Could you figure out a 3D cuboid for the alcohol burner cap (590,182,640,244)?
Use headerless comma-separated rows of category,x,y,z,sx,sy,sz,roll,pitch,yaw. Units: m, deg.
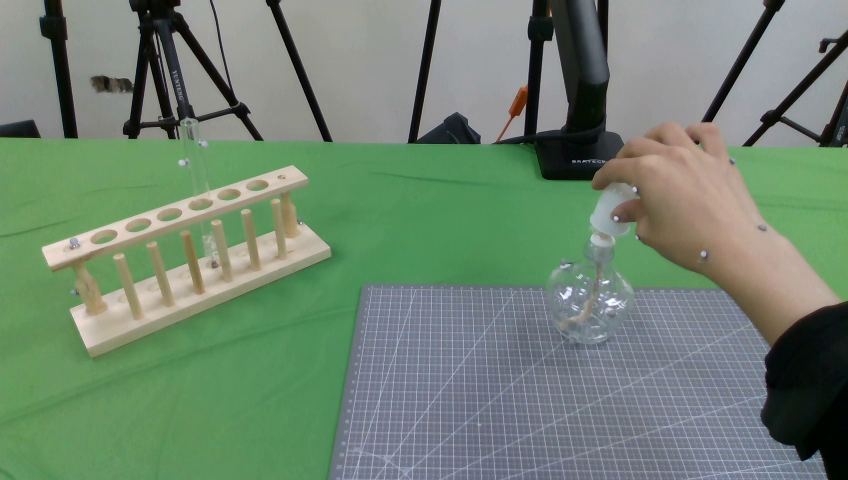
alcohol burner cap,0.155,-0.024,0.482,0.034,0.048,0.033,6,38,-4

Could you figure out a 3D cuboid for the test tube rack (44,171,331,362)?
test tube rack,-0.216,0.017,0.591,0.243,0.086,0.066,-24,42,-30

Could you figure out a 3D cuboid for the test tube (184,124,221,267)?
test tube,-0.212,-0.038,0.582,0.017,0.151,0.017,2,31,-1

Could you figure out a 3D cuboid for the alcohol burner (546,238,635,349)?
alcohol burner,0.149,0.038,0.533,0.078,0.120,0.077,1,38,0
